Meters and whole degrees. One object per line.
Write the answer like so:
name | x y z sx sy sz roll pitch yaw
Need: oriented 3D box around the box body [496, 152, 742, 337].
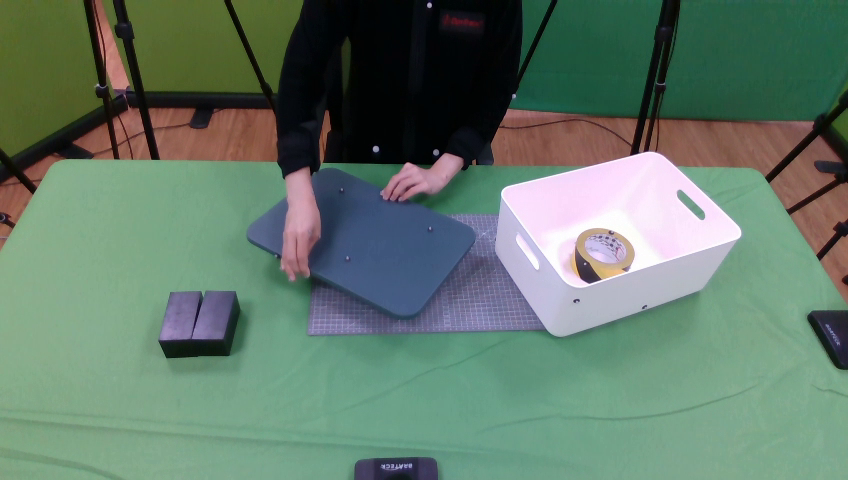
box body | 0.340 0.004 1.118 0.364 0.161 0.252 -15 49 -18

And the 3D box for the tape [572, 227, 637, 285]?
tape | 0.344 0.032 1.159 0.117 0.053 0.116 2 46 -2

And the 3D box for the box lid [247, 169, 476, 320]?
box lid | -0.115 -0.008 1.131 0.370 0.015 0.262 24 46 19
